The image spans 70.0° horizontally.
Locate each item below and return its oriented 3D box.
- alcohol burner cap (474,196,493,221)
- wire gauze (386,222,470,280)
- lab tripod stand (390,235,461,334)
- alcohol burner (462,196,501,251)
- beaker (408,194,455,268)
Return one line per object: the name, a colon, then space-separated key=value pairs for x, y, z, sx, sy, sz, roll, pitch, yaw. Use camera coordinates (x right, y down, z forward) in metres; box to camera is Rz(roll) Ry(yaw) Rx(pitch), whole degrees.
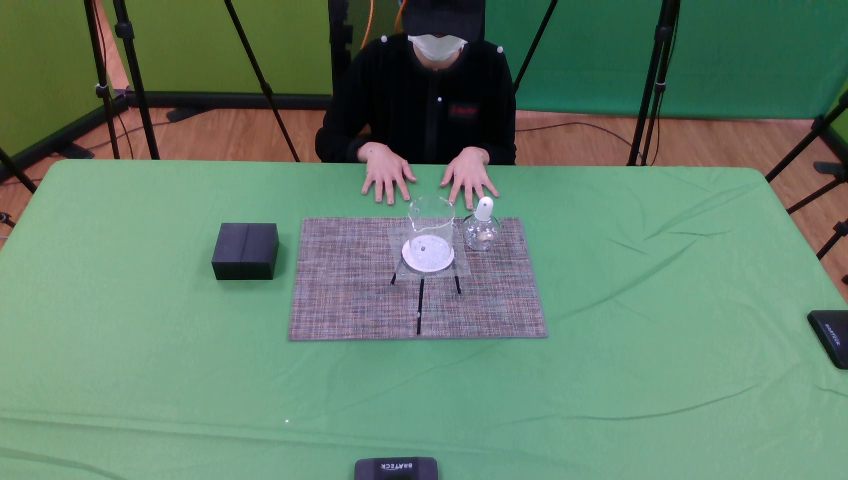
alcohol burner cap: x=0.116 y=-0.062 z=1.147 sx=0.034 sy=0.048 sz=0.033 roll=5 pitch=47 yaw=-6
wire gauze: x=0.005 y=0.018 z=1.006 sx=0.125 sy=0.011 sz=0.120 roll=-7 pitch=45 yaw=-5
lab tripod stand: x=-0.001 y=0.067 z=1.050 sx=0.148 sy=0.132 sz=0.147 roll=1 pitch=47 yaw=-1
alcohol burner: x=0.112 y=-0.037 z=1.173 sx=0.078 sy=0.120 sz=0.077 roll=1 pitch=45 yaw=-1
beaker: x=0.009 y=-0.010 z=0.965 sx=0.074 sy=0.101 sz=0.084 roll=23 pitch=50 yaw=20
